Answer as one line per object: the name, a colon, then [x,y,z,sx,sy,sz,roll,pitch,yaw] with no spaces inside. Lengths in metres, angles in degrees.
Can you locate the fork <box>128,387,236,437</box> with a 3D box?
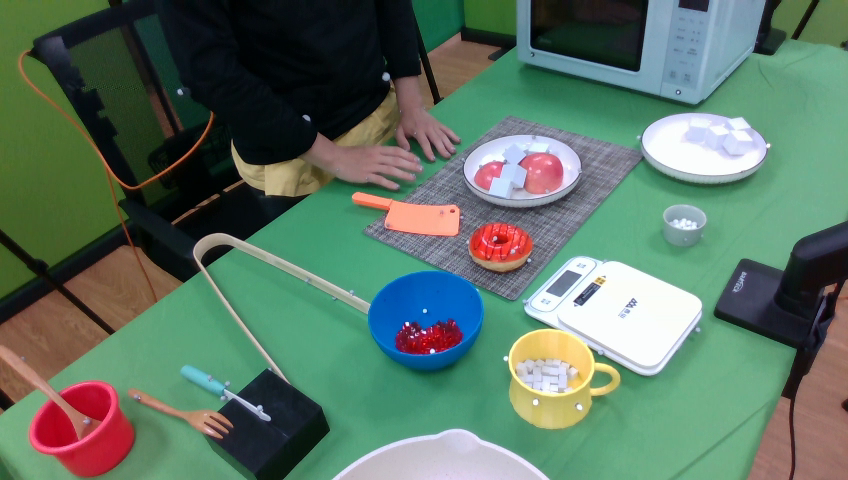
fork: [-0.305,0.207,0.744,0.206,0.019,0.028,3,41,36]

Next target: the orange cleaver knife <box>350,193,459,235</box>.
orange cleaver knife: [-0.036,-0.044,1.028,0.210,0.012,0.077,10,48,18]

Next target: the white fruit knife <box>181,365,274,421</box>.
white fruit knife: [-0.245,0.187,0.747,0.205,0.027,0.016,9,41,40]

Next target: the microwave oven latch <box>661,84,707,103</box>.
microwave oven latch: [0.517,-0.296,1.204,0.078,0.029,0.030,27,52,35]

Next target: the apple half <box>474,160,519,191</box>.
apple half: [0.130,-0.120,1.068,0.081,0.033,0.081,-3,37,3]

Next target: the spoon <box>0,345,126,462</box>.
spoon: [-0.434,0.192,0.720,0.194,0.021,0.042,47,53,-7]

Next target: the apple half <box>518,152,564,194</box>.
apple half: [0.204,-0.124,1.048,0.075,0.053,0.080,-7,41,-3]

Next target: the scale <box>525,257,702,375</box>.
scale: [0.254,0.091,0.821,0.199,0.032,0.149,27,51,35]

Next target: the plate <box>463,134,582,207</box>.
plate: [0.173,-0.119,1.070,0.209,0.038,0.208,-4,40,4]

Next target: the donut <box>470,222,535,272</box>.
donut: [0.119,0.009,0.923,0.099,0.048,0.098,-4,38,3]

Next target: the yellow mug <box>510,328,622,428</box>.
yellow mug: [0.168,0.164,0.722,0.130,0.064,0.099,0,40,8]

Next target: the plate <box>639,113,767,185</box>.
plate: [0.489,-0.157,1.074,0.207,0.039,0.206,-4,40,4]

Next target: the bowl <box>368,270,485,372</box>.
bowl: [0.007,0.118,0.791,0.151,0.077,0.150,-4,40,4]

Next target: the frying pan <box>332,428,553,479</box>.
frying pan: [-0.089,0.306,0.564,0.487,0.103,0.306,10,41,7]

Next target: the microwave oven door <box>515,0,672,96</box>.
microwave oven door: [0.343,-0.455,1.259,0.353,0.245,0.039,26,51,33]

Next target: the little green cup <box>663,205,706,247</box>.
little green cup: [0.396,-0.021,0.926,0.061,0.039,0.061,-4,40,4]

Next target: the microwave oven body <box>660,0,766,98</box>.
microwave oven body: [0.472,-0.513,1.317,0.438,0.261,0.327,26,51,34]

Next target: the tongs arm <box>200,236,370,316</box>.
tongs arm: [-0.209,0.062,0.924,0.381,0.026,0.051,23,53,32]

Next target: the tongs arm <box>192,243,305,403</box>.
tongs arm: [-0.267,0.109,0.883,0.028,0.028,0.384,-36,46,-19]
